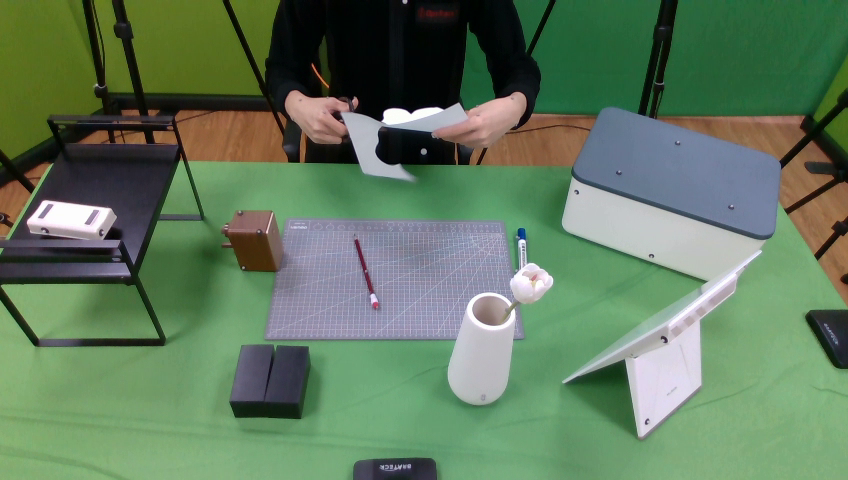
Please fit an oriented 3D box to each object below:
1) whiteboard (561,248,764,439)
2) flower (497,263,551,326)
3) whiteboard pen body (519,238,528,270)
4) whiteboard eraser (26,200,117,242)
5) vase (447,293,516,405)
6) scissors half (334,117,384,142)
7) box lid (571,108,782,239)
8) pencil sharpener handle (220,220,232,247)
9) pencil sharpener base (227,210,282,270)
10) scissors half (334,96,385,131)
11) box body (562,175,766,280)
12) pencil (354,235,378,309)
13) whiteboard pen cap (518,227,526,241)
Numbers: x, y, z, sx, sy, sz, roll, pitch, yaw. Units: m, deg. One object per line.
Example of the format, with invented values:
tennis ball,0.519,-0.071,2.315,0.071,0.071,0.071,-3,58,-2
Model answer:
whiteboard,0.386,0.176,0.905,0.217,0.306,0.143,-26,72,-27
flower,0.102,0.121,0.853,0.044,0.363,0.038,-2,64,-10
whiteboard pen body,0.193,0.035,1.181,0.017,0.017,0.140,6,48,1
whiteboard eraser,-0.532,-0.026,0.919,0.113,0.042,0.055,7,45,3
vase,0.091,0.169,0.921,0.098,0.201,0.097,3,47,-3
scissors half,-0.114,-0.196,1.056,0.013,0.040,0.174,-6,6,-34
box lid,0.491,-0.139,1.168,0.370,0.015,0.262,20,49,15
pencil sharpener handle,-0.362,-0.009,1.105,0.030,0.068,0.036,1,52,1
pencil sharpener base,-0.311,0.001,1.112,0.077,0.107,0.061,1,47,1
scissors half,-0.113,-0.216,1.050,0.013,0.040,0.174,-12,33,-32
box body,0.486,-0.088,1.222,0.363,0.161,0.253,20,48,15
pencil,-0.113,0.055,1.142,0.012,0.012,0.192,-10,46,-13
whiteboard pen cap,0.197,-0.009,1.220,0.018,0.018,0.033,5,51,1
